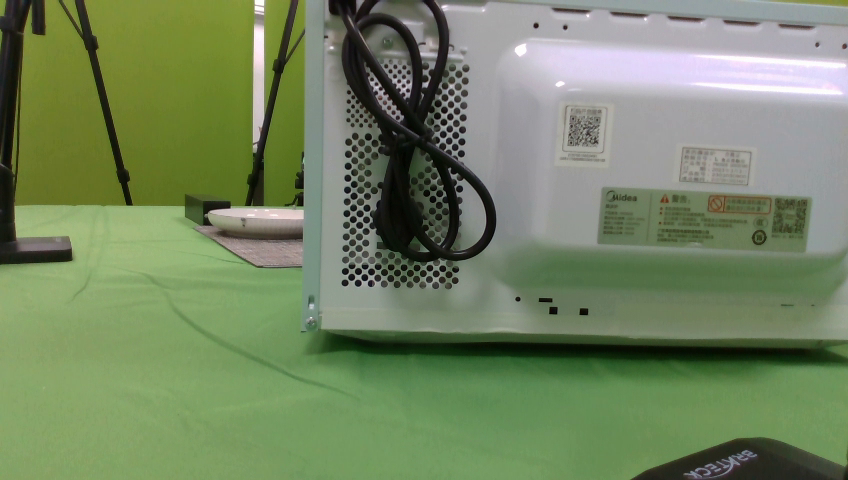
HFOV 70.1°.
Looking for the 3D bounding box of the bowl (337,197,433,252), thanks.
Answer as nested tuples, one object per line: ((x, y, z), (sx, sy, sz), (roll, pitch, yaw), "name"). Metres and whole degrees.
((-0.062, -0.025, 0.955), (0.151, 0.077, 0.151), (2, 8, 0), "bowl")

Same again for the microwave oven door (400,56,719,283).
((0.155, -0.077, 0.698), (0.356, 0.243, 0.039), (2, 8, -5), "microwave oven door")

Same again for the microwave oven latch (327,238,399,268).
((-0.069, 0.015, 0.694), (0.079, 0.029, 0.030), (3, 7, -3), "microwave oven latch")

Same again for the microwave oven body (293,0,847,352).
((0.122, -0.055, 0.550), (0.442, 0.260, 0.325), (3, 7, -5), "microwave oven body")

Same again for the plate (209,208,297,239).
((-0.271, -0.029, 1.074), (0.208, 0.039, 0.207), (3, 7, 0), "plate")
